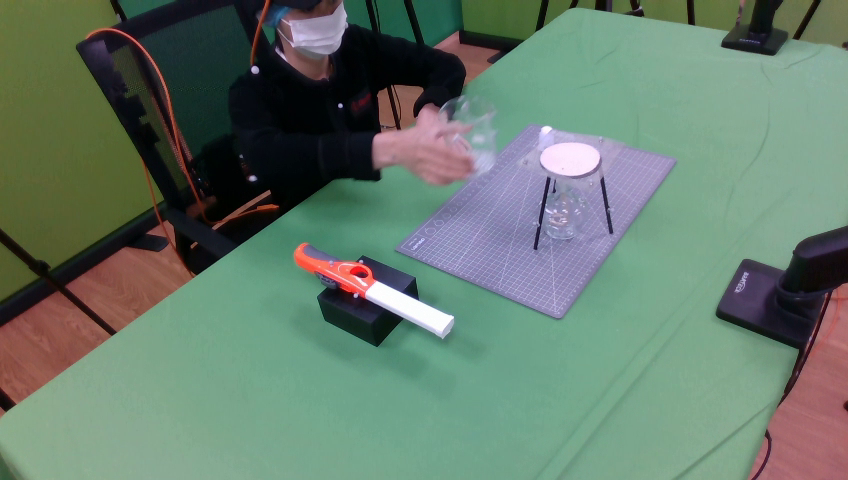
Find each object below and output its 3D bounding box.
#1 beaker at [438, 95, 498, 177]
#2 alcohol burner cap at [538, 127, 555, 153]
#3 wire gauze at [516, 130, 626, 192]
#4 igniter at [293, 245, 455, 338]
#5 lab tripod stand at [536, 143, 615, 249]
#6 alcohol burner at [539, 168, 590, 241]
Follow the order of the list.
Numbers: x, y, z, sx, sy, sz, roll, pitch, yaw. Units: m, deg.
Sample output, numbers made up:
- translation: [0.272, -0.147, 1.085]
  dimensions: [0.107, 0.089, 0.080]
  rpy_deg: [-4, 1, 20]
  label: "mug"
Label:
- translation: [0.070, -0.148, 0.875]
  dimensions: [0.084, 0.101, 0.074]
  rpy_deg: [-1, 44, 14]
  label: "beaker"
- translation: [0.234, -0.191, 1.147]
  dimensions: [0.034, 0.048, 0.033]
  rpy_deg: [-5, 40, 5]
  label: "alcohol burner cap"
- translation: [0.216, -0.124, 0.892]
  dimensions: [0.124, 0.011, 0.122]
  rpy_deg: [22, 49, 31]
  label: "wire gauze"
- translation: [-0.079, 0.065, 0.833]
  dimensions: [0.274, 0.025, 0.057]
  rpy_deg: [23, 48, 27]
  label: "igniter"
- translation: [0.224, -0.069, 0.930]
  dimensions: [0.148, 0.132, 0.147]
  rpy_deg: [-4, 42, 4]
  label: "lab tripod stand"
- translation: [0.217, -0.059, 0.935]
  dimensions: [0.078, 0.119, 0.077]
  rpy_deg: [-6, 40, 5]
  label: "alcohol burner"
